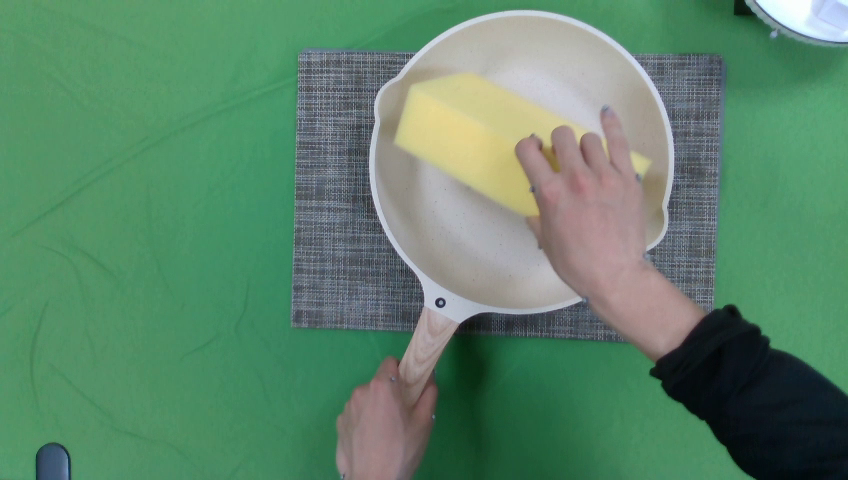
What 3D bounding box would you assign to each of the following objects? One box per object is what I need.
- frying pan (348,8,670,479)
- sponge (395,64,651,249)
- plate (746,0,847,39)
[{"bbox_3d":[0.043,0.014,0.602,0.306,0.103,0.487,27,84,4],"label":"frying pan"},{"bbox_3d":[0.092,-0.086,0.561,0.205,0.118,0.061,32,125,18],"label":"sponge"},{"bbox_3d":[0.378,-0.287,0.562,0.207,0.039,0.207,0,91,3],"label":"plate"}]
